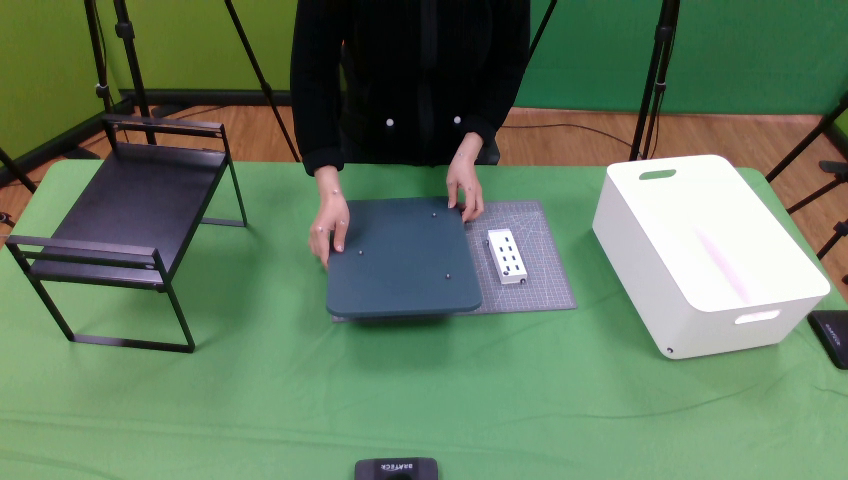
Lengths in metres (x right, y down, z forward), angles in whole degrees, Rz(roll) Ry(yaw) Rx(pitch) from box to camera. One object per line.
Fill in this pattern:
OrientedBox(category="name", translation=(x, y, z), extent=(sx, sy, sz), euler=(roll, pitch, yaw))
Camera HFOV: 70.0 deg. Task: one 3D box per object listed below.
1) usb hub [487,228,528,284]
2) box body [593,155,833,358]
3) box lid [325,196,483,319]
OrientedBox(category="usb hub", translation=(0.159, 0.030, 1.173), extent=(0.049, 0.025, 0.124), euler=(-6, 46, -9))
OrientedBox(category="box body", translation=(0.497, 0.023, 1.112), extent=(0.254, 0.161, 0.361), euler=(-7, 47, -10))
OrientedBox(category="box lid", translation=(-0.046, 0.016, 1.125), extent=(0.263, 0.015, 0.369), euler=(-2, 34, -5))
